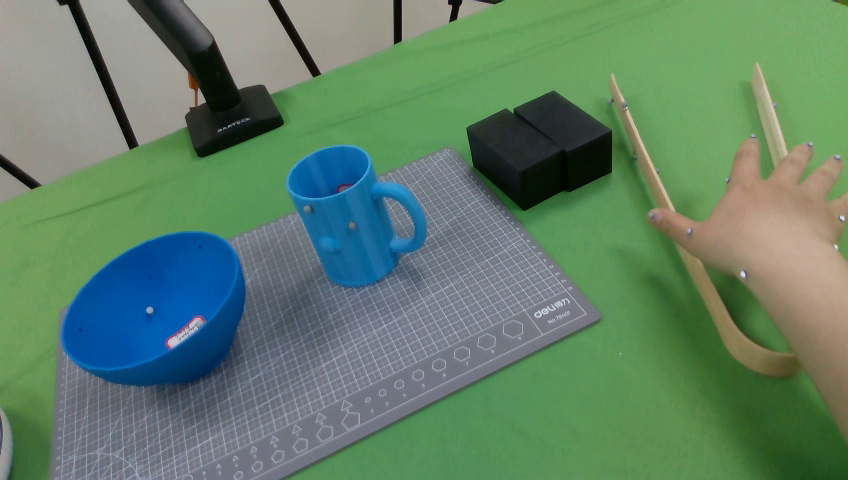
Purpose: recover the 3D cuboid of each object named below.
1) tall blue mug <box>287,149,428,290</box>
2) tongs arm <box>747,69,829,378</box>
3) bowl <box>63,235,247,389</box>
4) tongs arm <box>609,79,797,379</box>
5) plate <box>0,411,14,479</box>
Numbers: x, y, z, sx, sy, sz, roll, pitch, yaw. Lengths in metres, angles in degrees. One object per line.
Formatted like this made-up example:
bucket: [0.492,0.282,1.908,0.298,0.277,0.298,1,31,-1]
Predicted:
tall blue mug: [-0.055,-0.021,0.554,0.107,0.109,0.077,-16,42,0]
tongs arm: [0.312,-0.045,0.538,0.028,0.028,0.384,9,46,12]
bowl: [-0.215,0.074,0.524,0.151,0.077,0.150,-8,43,8]
tongs arm: [0.231,-0.043,0.550,0.051,0.027,0.381,-3,44,5]
plate: [-0.419,0.216,0.469,0.209,0.038,0.207,-8,43,8]
